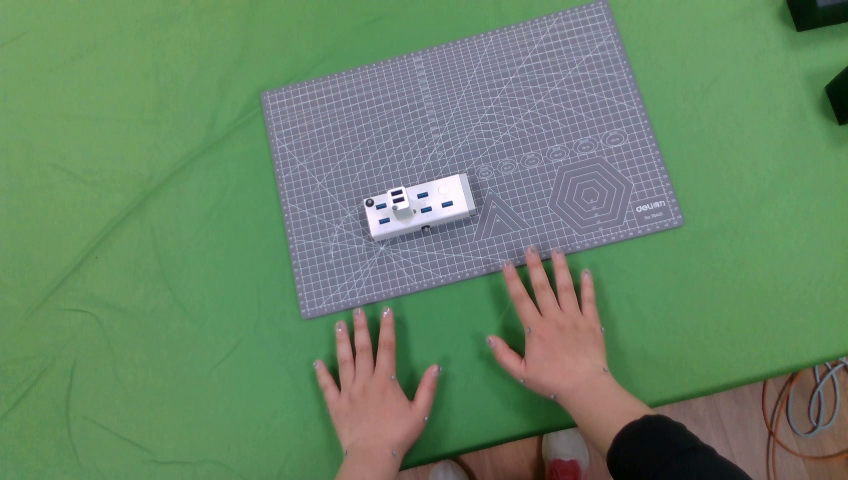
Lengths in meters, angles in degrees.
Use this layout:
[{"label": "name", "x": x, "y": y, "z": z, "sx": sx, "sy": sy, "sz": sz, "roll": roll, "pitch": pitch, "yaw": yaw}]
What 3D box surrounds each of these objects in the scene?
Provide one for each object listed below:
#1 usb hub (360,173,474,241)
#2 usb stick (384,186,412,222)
[{"label": "usb hub", "x": -0.009, "y": -0.039, "z": 0.706, "sx": 0.125, "sy": 0.025, "sz": 0.049, "roll": -15, "pitch": 75, "yaw": 3}, {"label": "usb stick", "x": -0.028, "y": -0.037, "z": 0.678, "sx": 0.021, "sy": 0.059, "sz": 0.027, "roll": -18, "pitch": 73, "yaw": 3}]
